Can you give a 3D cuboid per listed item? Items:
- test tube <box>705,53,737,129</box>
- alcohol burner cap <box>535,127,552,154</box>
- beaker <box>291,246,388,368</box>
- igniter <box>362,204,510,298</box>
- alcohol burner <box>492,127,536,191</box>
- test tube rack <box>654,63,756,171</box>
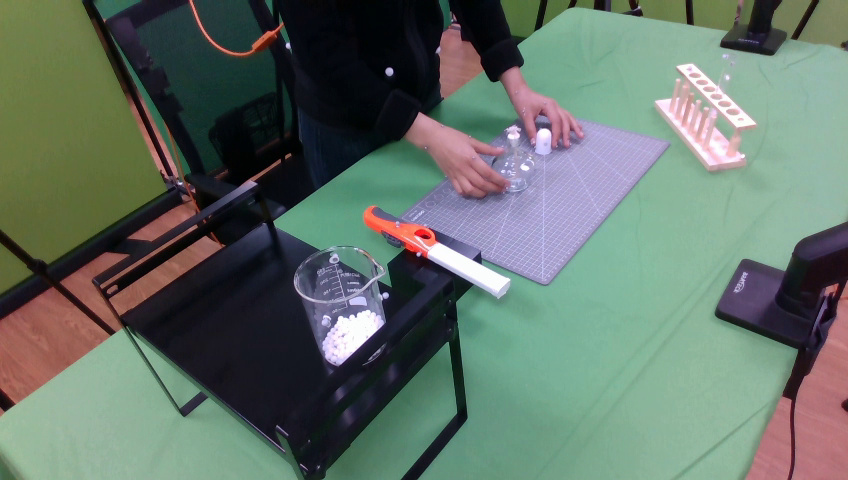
[{"bbox_3d":[0.526,-0.260,1.074,0.017,0.151,0.017,-2,44,2],"label":"test tube"},{"bbox_3d":[0.227,-0.190,1.141,0.034,0.048,0.033,-2,39,2],"label":"alcohol burner cap"},{"bbox_3d":[-0.073,0.066,0.572,0.084,0.101,0.073,-7,41,0],"label":"beaker"},{"bbox_3d":[0.007,0.009,0.887,0.274,0.025,0.057,29,50,32],"label":"igniter"},{"bbox_3d":[0.156,-0.145,1.046,0.078,0.119,0.077,-5,42,5],"label":"alcohol burner"},{"bbox_3d":[0.511,-0.233,1.120,0.067,0.085,0.241,-8,41,-1],"label":"test tube rack"}]
